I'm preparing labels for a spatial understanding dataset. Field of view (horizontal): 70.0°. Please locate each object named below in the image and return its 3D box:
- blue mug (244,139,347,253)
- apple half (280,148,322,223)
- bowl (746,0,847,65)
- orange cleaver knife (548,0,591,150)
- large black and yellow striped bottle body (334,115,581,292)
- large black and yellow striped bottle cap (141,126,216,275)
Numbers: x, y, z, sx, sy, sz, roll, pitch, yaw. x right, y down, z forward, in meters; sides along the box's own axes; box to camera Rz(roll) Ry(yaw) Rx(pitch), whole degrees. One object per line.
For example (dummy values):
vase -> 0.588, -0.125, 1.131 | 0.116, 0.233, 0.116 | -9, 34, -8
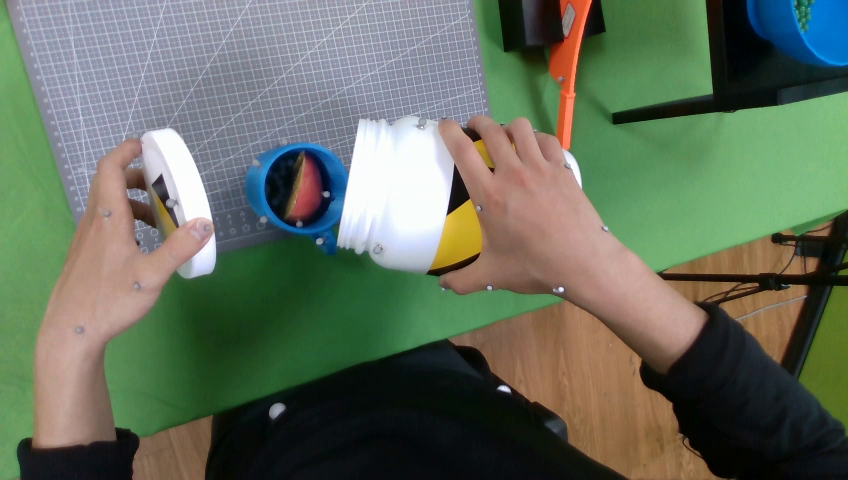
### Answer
blue mug -> -0.119, -0.039, 0.591 | 0.082, 0.105, 0.117 | -31, 107, -17
apple half -> -0.114, -0.049, 0.586 | 0.033, 0.081, 0.081 | 18, 89, -16
bowl -> 0.380, -0.246, 0.603 | 0.152, 0.076, 0.151 | -3, 98, -23
orange cleaver knife -> 0.163, -0.209, 0.707 | 0.012, 0.076, 0.213 | -12, 128, -13
large black and yellow striped bottle body -> 0.024, -0.032, 0.515 | 0.184, 0.130, 0.131 | 10, 93, -9
large black and yellow striped bottle cap -> -0.190, -0.029, 0.464 | 0.019, 0.114, 0.115 | -17, 103, -34
